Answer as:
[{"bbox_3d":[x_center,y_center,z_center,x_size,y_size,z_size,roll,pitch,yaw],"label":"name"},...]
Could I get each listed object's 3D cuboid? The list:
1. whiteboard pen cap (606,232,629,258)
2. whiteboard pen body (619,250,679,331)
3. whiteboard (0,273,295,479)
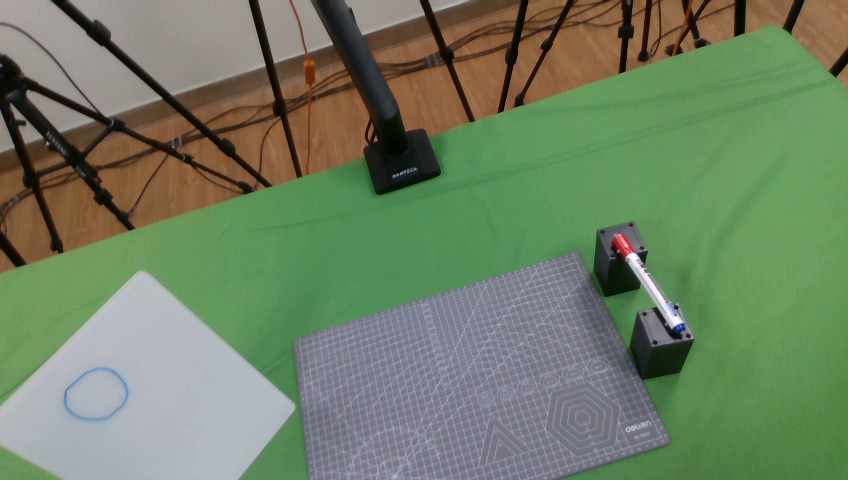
[{"bbox_3d":[0.250,0.007,0.782,0.017,0.017,0.032,-21,56,-3],"label":"whiteboard pen cap"},{"bbox_3d":[0.271,0.052,0.748,0.017,0.017,0.139,-22,55,-3],"label":"whiteboard pen body"},{"bbox_3d":[-0.354,0.200,0.762,0.142,0.309,0.216,16,59,44],"label":"whiteboard"}]
